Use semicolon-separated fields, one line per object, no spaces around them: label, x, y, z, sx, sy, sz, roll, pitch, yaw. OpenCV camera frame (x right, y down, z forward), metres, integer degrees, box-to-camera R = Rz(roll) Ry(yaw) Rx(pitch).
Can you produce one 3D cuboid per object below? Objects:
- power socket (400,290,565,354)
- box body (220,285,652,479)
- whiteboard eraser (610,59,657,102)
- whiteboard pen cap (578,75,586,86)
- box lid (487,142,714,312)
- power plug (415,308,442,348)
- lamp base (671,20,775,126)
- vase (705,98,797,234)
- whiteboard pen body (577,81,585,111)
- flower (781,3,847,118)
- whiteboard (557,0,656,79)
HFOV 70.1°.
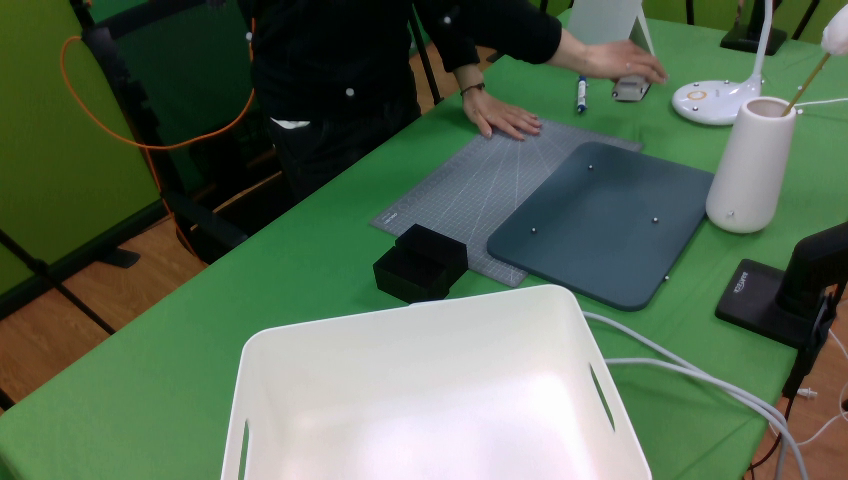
power socket;0.079;0.111;0.823;0.227;0.033;0.072;-6;41;1
box body;0.005;0.211;0.616;0.364;0.161;0.252;-9;40;-2
whiteboard eraser;0.395;-0.296;1.134;0.055;0.042;0.113;16;50;29
whiteboard pen cap;0.349;-0.351;1.334;0.018;0.018;0.033;3;38;12
box lid;0.298;-0.041;0.986;0.261;0.015;0.372;23;49;30
power plug;0.004;0.121;0.786;0.035;0.053;0.072;1;46;8
lamp base;0.581;-0.332;1.154;0.179;0.181;0.160;2;42;7
vase;0.480;-0.104;0.888;0.098;0.201;0.097;-4;42;4
whiteboard pen body;0.335;-0.313;1.292;0.017;0.017;0.140;3;40;12
flower;0.480;-0.157;0.824;0.044;0.362;0.038;-9;56;-9
whiteboard;0.462;-0.542;1.366;0.145;0.306;0.215;-3;36;-25
